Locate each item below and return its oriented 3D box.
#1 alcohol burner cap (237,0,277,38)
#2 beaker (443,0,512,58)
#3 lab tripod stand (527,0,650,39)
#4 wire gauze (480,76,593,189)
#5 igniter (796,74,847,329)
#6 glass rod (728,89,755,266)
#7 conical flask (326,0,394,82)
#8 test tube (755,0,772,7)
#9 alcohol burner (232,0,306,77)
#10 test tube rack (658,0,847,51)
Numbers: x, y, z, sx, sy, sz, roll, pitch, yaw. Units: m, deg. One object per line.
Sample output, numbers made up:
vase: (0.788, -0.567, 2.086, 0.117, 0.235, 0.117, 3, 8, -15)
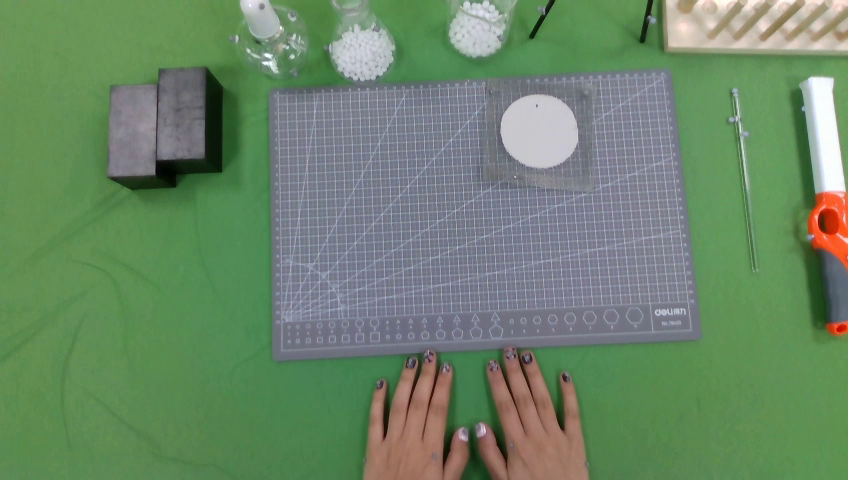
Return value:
alcohol burner cap: (-0.166, -0.227, 0.597, 0.034, 0.048, 0.033, 0, 75, 0)
beaker: (0.057, -0.244, 0.643, 0.074, 0.100, 0.083, -21, 82, -2)
lab tripod stand: (0.181, -0.275, 0.629, 0.148, 0.132, 0.148, 0, 83, 1)
wire gauze: (0.125, -0.121, 0.667, 0.125, 0.011, 0.121, 5, 81, -2)
igniter: (0.431, -0.044, 0.648, 0.057, 0.025, 0.275, 0, 82, -9)
glass rod: (0.346, -0.070, 0.661, 0.008, 0.008, 0.199, -2, 81, 0)
conical flask: (-0.072, -0.222, 0.628, 0.075, 0.122, 0.075, 0, 81, 0)
test tube: (0.371, -0.276, 0.603, 0.017, 0.151, 0.017, 0, 81, 3)
alcohol burner: (-0.166, -0.219, 0.632, 0.078, 0.119, 0.077, 0, 82, 2)
test tube rack: (0.388, -0.254, 0.649, 0.242, 0.085, 0.066, 1, 81, 1)
